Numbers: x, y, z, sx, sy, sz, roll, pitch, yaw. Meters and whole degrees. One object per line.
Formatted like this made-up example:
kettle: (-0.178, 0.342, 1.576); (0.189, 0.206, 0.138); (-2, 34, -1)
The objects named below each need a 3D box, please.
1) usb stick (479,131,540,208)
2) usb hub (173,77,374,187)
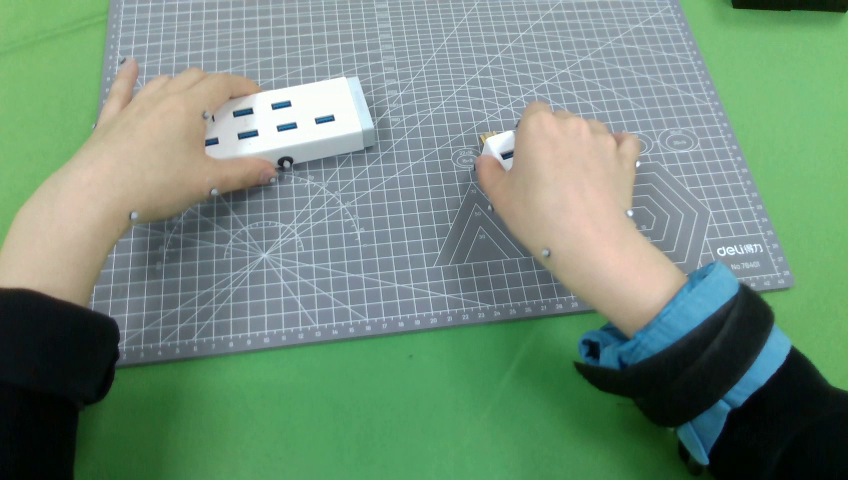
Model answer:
usb stick: (0.055, -0.053, 0.409); (0.021, 0.027, 0.058); (-21, 64, -10)
usb hub: (-0.100, -0.075, 0.409); (0.125, 0.025, 0.049); (-14, 65, -10)
